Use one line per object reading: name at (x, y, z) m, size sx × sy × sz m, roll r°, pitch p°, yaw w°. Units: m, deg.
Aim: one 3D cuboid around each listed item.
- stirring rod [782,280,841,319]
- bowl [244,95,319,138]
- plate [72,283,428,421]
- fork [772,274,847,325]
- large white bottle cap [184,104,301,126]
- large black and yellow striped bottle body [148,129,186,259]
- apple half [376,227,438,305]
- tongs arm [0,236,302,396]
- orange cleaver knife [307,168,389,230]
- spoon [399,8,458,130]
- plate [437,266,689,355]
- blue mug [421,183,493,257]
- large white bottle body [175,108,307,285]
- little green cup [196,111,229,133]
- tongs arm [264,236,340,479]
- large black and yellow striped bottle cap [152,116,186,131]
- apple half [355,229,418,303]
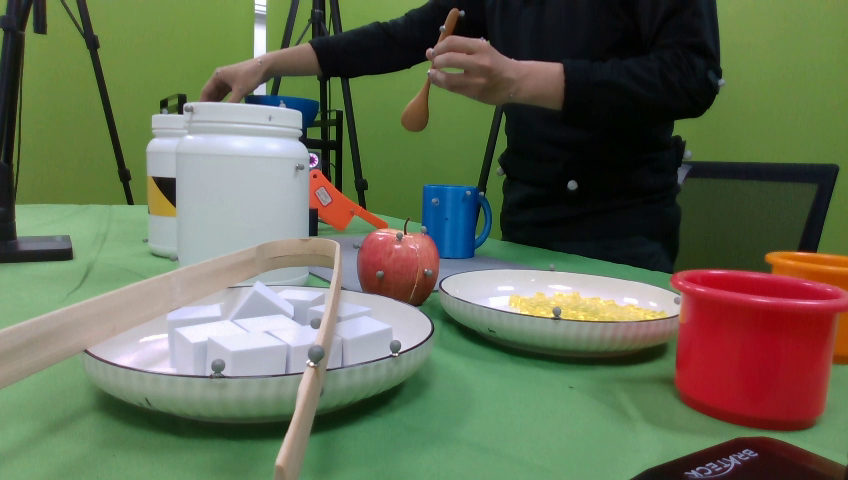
stirring rod at (0.344, 0.019, 0.460) m, size 0.014 × 0.006 × 0.176 m, roll -13°, pitch -27°, yaw -30°
bowl at (-0.293, -0.251, 1.249) m, size 0.151 × 0.077 × 0.151 m, roll 2°, pitch 8°, yaw 0°
plate at (-0.102, 0.066, 0.381) m, size 0.208 × 0.039 × 0.207 m, roll 2°, pitch 7°, yaw 0°
fork at (0.332, 0.018, 0.443) m, size 0.028 × 0.018 × 0.207 m, roll -1°, pitch -36°, yaw -15°
large white bottle cap at (-0.184, -0.126, 0.618) m, size 0.115 × 0.018 × 0.115 m, roll 2°, pitch 8°, yaw 0°
large black and yellow striped bottle body at (-0.310, -0.072, 0.838) m, size 0.131 × 0.184 × 0.130 m, roll 2°, pitch 8°, yaw 0°
apple half at (-0.017, 0.026, 0.593) m, size 0.080 × 0.074 × 0.053 m, roll 4°, pitch 2°, yaw 43°
tongs arm at (-0.158, 0.039, 0.351) m, size 0.028 × 0.028 × 0.388 m, roll -3°, pitch 8°, yaw 11°
orange cleaver knife at (-0.158, -0.060, 1.166) m, size 0.212 × 0.077 × 0.012 m, roll 34°, pitch -12°, yaw -32°
spoon at (0.008, -0.233, 0.845) m, size 0.042 × 0.193 × 0.021 m, roll 20°, pitch 36°, yaw -4°
plate at (0.114, 0.057, 0.517) m, size 0.209 × 0.038 × 0.209 m, roll 3°, pitch 7°, yaw 0°
blue mug at (0.052, -0.032, 0.912) m, size 0.117 × 0.106 × 0.082 m, roll -1°, pitch 8°, yaw -24°
large white bottle body at (-0.188, -0.042, 0.630) m, size 0.131 × 0.184 × 0.130 m, roll 2°, pitch 8°, yaw 0°
little green cup at (-0.403, -0.225, 1.154) m, size 0.061 × 0.038 × 0.061 m, roll 2°, pitch 8°, yaw 0°
tongs arm at (-0.074, 0.040, 0.349) m, size 0.051 × 0.026 × 0.384 m, roll -2°, pitch 9°, yaw -3°
large black and yellow striped bottle cap at (-0.309, -0.155, 0.826) m, size 0.115 × 0.019 × 0.115 m, roll 3°, pitch 6°, yaw 0°
apple half at (-0.043, 0.027, 0.564) m, size 0.081 × 0.081 × 0.033 m, roll 9°, pitch 5°, yaw 42°
